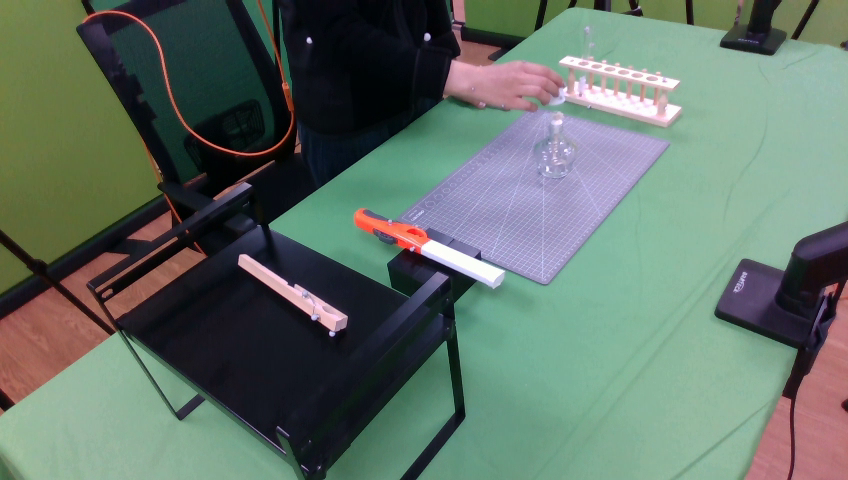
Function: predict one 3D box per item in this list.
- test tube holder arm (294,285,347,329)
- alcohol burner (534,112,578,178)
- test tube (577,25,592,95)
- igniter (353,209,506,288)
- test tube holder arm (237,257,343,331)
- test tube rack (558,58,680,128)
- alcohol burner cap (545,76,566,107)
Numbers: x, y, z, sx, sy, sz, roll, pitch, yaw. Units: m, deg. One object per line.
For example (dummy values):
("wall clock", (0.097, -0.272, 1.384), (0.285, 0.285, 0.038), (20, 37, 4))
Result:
("test tube holder arm", (-0.113, 0.070, 0.635), (0.087, 0.015, 0.010), (24, 16, 36))
("alcohol burner", (0.232, -0.170, 1.066), (0.078, 0.119, 0.077), (-5, 39, 5))
("test tube", (0.325, -0.362, 1.227), (0.017, 0.151, 0.017), (-3, 45, 4))
("igniter", (-0.003, 0.006, 0.892), (0.274, 0.025, 0.057), (24, 37, 31))
("test tube holder arm", (-0.150, 0.055, 0.657), (0.177, 0.015, 0.013), (24, 16, 34))
("test tube rack", (0.395, -0.309, 1.231), (0.240, 0.085, 0.067), (25, 50, 33))
("alcohol burner cap", (0.218, -0.249, 1.009), (0.034, 0.048, 0.033), (-10, 39, 9))
